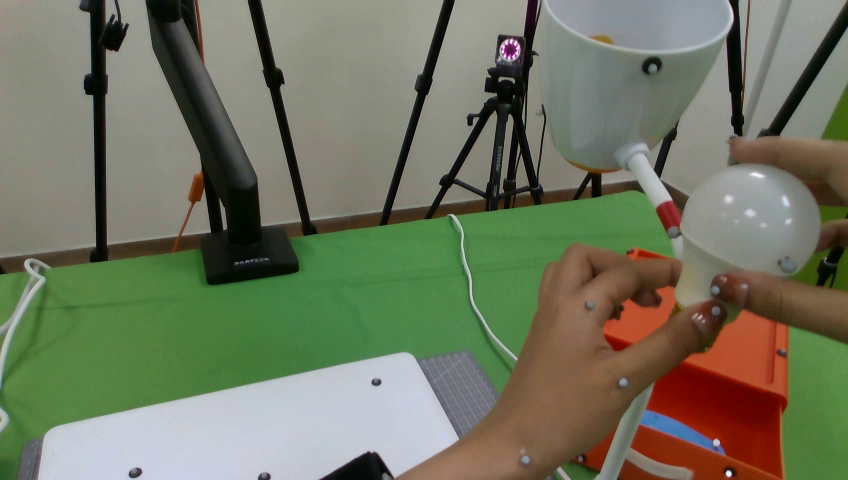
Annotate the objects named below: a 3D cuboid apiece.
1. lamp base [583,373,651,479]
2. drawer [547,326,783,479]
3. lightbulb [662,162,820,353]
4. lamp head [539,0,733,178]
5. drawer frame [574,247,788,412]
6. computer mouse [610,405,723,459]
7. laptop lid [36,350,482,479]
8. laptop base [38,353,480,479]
[{"bbox_3d":[0.141,0.197,0.424,0.161,0.181,0.177,2,27,-7],"label":"lamp base"},{"bbox_3d":[0.251,0.156,0.619,0.193,0.074,0.211,16,31,22],"label":"drawer"},{"bbox_3d":[0.151,0.013,0.304,0.059,0.108,0.059,12,28,-6],"label":"lightbulb"},{"bbox_3d":[0.128,-0.102,0.399,0.112,0.124,0.111,-1,45,1],"label":"lamp head"},{"bbox_3d":[0.303,0.108,0.706,0.200,0.083,0.213,17,31,22],"label":"drawer frame"},{"bbox_3d":[0.228,0.196,0.575,0.117,0.041,0.062,17,31,14],"label":"computer mouse"},{"bbox_3d":[-0.135,0.203,0.518,0.358,0.013,0.239,-7,34,-20],"label":"laptop lid"},{"bbox_3d":[-0.136,0.212,0.525,0.355,0.023,0.233,-8,35,-22],"label":"laptop base"}]
